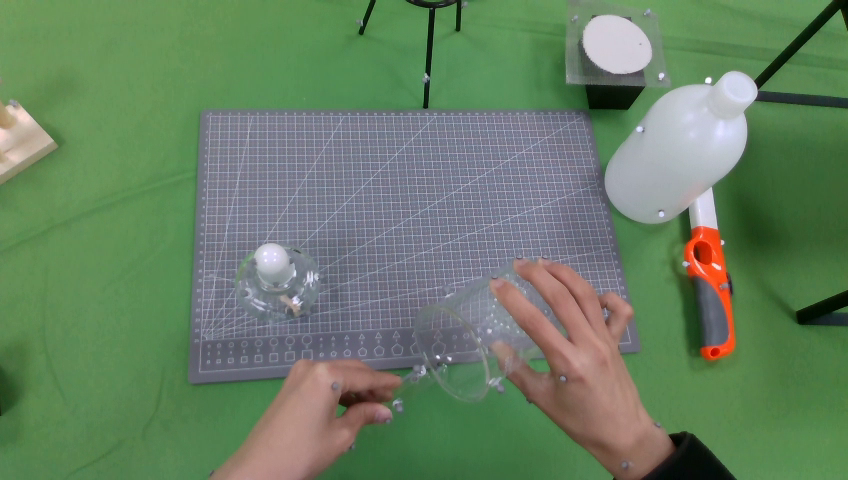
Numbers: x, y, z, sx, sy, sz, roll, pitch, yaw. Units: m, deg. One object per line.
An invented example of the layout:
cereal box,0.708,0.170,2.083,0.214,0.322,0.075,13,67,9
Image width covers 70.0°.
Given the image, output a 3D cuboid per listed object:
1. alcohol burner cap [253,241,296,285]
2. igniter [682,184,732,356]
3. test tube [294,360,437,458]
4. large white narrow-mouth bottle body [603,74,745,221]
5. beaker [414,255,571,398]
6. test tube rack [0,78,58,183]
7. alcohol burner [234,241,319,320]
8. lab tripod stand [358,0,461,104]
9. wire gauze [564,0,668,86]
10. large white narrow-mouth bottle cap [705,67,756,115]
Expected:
alcohol burner cap,-0.130,0.019,0.520,0.034,0.048,0.033,1,73,-4
igniter,0.313,-0.005,0.682,0.057,0.025,0.274,11,67,-17
test tube,-0.050,0.137,0.479,0.150,0.017,0.017,-36,73,22
large white narrow-mouth bottle body,0.264,-0.100,0.622,0.102,0.195,0.101,3,67,-6
beaker,0.052,0.060,0.447,0.100,0.084,0.073,-26,70,-34
test tube rack,-0.483,-0.060,0.557,0.066,0.085,0.242,44,69,10
alcohol burner,-0.135,0.031,0.554,0.078,0.119,0.077,4,66,-8
lab tripod stand,-0.003,-0.250,0.676,0.149,0.132,0.147,3,69,-8
wire gauze,0.224,-0.234,0.718,0.122,0.011,0.124,5,68,-6
large white narrow-mouth bottle cap,0.274,-0.134,0.544,0.038,0.024,0.037,3,68,-6
